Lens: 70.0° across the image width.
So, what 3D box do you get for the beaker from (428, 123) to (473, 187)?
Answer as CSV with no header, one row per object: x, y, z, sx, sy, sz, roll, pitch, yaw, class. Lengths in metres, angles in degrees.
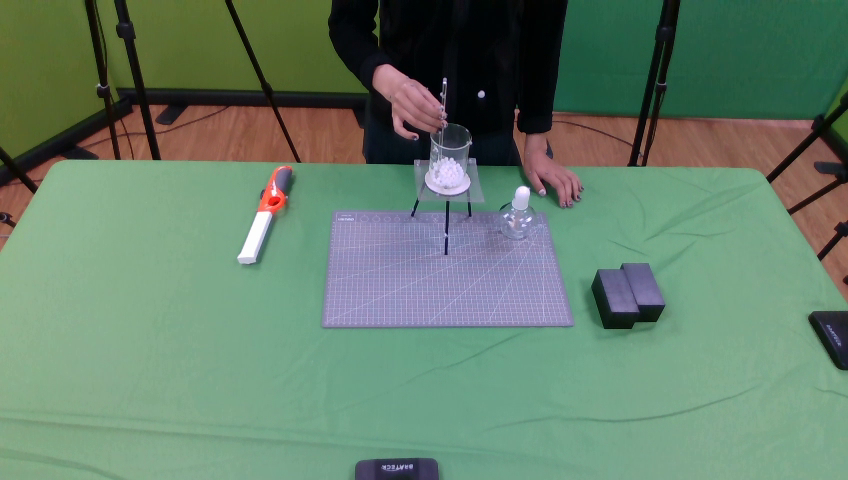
0.044,-0.154,1.109,0.074,0.101,0.083,-25,54,-25,beaker

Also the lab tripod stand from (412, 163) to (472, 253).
0.043,-0.070,1.187,0.148,0.132,0.147,3,47,-3,lab tripod stand

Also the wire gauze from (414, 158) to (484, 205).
0.045,-0.113,1.137,0.125,0.011,0.120,1,48,-6,wire gauze

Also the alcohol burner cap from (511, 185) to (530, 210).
0.190,-0.086,1.176,0.034,0.048,0.033,3,50,-3,alcohol burner cap

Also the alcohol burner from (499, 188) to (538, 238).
0.189,-0.060,1.202,0.078,0.120,0.077,1,48,-1,alcohol burner

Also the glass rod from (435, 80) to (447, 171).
0.029,-0.198,1.076,0.008,0.200,0.008,2,49,-2,glass rod

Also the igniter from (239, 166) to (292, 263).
-0.318,-0.060,1.229,0.057,0.025,0.275,-2,45,9,igniter
